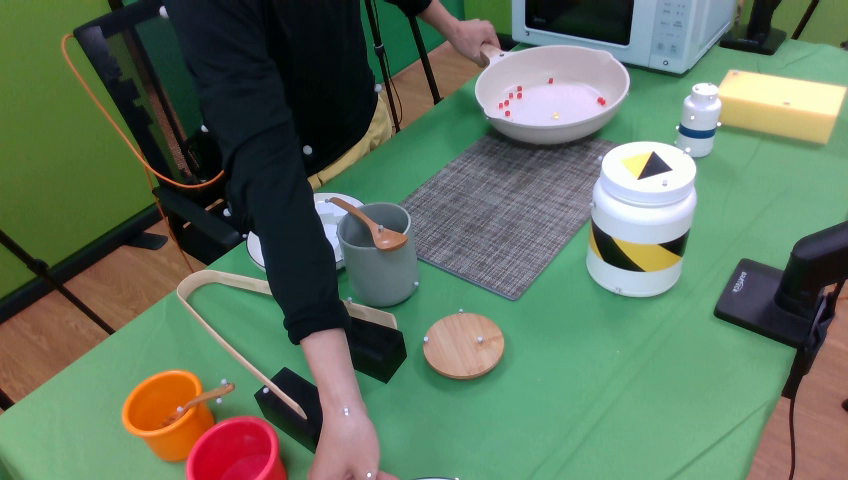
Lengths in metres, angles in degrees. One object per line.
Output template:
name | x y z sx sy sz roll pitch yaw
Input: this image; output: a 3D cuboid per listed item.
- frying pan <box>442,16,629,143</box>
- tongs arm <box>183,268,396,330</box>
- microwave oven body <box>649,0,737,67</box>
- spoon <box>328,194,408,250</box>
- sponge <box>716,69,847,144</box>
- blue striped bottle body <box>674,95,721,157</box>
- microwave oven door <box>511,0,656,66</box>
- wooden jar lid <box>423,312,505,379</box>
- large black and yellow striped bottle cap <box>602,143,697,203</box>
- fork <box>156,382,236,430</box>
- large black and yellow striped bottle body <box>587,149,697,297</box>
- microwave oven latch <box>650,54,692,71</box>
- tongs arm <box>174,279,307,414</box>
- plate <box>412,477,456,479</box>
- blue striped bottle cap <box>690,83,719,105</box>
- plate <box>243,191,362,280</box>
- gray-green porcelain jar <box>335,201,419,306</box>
frying pan | 0.188 -0.351 1.240 0.308 0.103 0.484 -29 55 -19
tongs arm | -0.203 0.084 0.846 0.382 0.026 0.051 11 42 35
microwave oven body | 0.475 -0.602 1.411 0.438 0.261 0.327 23 50 32
spoon | -0.083 -0.030 0.829 0.042 0.022 0.192 -30 42 -22
sponge | 0.663 -0.256 1.142 0.205 0.061 0.118 19 47 28
blue striped bottle body | 0.486 -0.213 1.071 0.063 0.121 0.063 -4 41 4
microwave oven door | 0.350 -0.539 1.348 0.353 0.245 0.039 24 50 31
wooden jar lid | 0.053 0.142 0.801 0.108 0.021 0.108 -5 40 4
large black and yellow striped bottle cap | 0.289 -0.089 0.778 0.115 0.019 0.114 -4 39 4
fork | -0.262 0.189 0.690 0.018 0.206 0.028 49 43 -6
large black and yellow striped bottle body | 0.298 -0.026 0.834 0.131 0.185 0.130 -4 41 4
microwave oven latch | 0.530 -0.386 1.301 0.078 0.029 0.030 23 50 32
tongs arm | -0.256 0.129 0.798 0.028 0.028 0.384 -39 39 -25
plate | 0.006 0.331 0.572 0.209 0.038 0.208 -4 41 4
blue striped bottle cap | 0.481 -0.251 1.038 0.044 0.021 0.044 -5 39 5
plate | -0.187 -0.005 0.992 0.207 0.039 0.206 -4 40 4
gray-green porcelain jar | -0.064 0.024 0.872 0.106 0.127 0.105 -4 41 4
